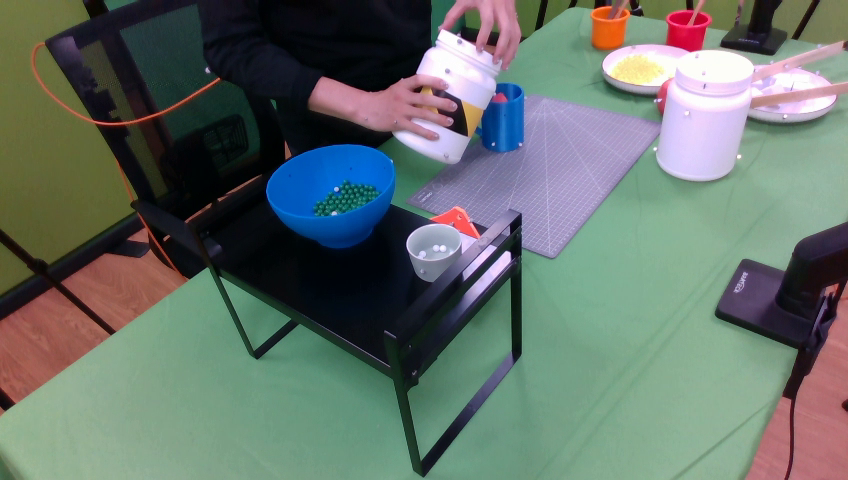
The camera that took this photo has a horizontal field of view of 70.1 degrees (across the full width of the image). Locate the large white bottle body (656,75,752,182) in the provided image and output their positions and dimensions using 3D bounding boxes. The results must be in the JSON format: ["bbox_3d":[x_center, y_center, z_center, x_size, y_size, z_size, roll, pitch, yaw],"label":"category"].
[{"bbox_3d":[0.472,-0.207,1.022,0.130,0.185,0.130,-4,41,4],"label":"large white bottle body"}]

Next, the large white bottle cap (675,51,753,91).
[{"bbox_3d":[0.463,-0.271,0.967,0.115,0.018,0.114,-4,40,4],"label":"large white bottle cap"}]

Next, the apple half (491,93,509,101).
[{"bbox_3d":[0.141,-0.239,1.158,0.033,0.081,0.080,-14,40,-18],"label":"apple half"}]

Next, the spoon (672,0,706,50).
[{"bbox_3d":[0.629,-0.520,1.394,0.041,0.022,0.193,30,97,34],"label":"spoon"}]

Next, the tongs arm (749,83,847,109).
[{"bbox_3d":[0.734,-0.280,1.133,0.388,0.028,0.028,-9,46,-5],"label":"tongs arm"}]

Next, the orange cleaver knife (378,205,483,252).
[{"bbox_3d":[0.005,-0.010,0.943,0.210,0.077,0.012,-5,23,47],"label":"orange cleaver knife"}]

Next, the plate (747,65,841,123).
[{"bbox_3d":[0.695,-0.282,1.189,0.207,0.039,0.206,-4,40,4],"label":"plate"}]

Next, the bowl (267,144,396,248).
[{"bbox_3d":[-0.104,-0.043,0.726,0.151,0.077,0.150,-4,40,4],"label":"bowl"}]

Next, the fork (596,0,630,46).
[{"bbox_3d":[0.481,-0.556,1.452,0.028,0.019,0.207,40,103,40],"label":"fork"}]

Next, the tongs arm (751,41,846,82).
[{"bbox_3d":[0.708,-0.331,1.194,0.386,0.026,0.050,-18,45,-16],"label":"tongs arm"}]

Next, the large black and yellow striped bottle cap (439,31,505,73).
[{"bbox_3d":[0.078,-0.305,0.979,0.115,0.019,0.114,24,19,-9],"label":"large black and yellow striped bottle cap"}]

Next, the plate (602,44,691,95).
[{"bbox_3d":[0.495,-0.367,1.317,0.209,0.038,0.208,-4,40,4],"label":"plate"}]

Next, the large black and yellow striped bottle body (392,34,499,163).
[{"bbox_3d":[0.040,-0.235,1.006,0.131,0.184,0.130,25,18,-8],"label":"large black and yellow striped bottle body"}]

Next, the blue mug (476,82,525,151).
[{"bbox_3d":[0.138,-0.240,1.169,0.116,0.106,0.082,10,44,21],"label":"blue mug"}]

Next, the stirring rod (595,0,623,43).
[{"bbox_3d":[0.460,-0.556,1.459,0.014,0.006,0.176,30,93,23],"label":"stirring rod"}]

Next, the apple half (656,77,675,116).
[{"bbox_3d":[0.488,-0.281,1.192,0.053,0.075,0.081,24,54,37],"label":"apple half"}]

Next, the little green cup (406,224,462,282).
[{"bbox_3d":[0.012,0.015,0.668,0.061,0.039,0.061,-4,40,4],"label":"little green cup"}]
